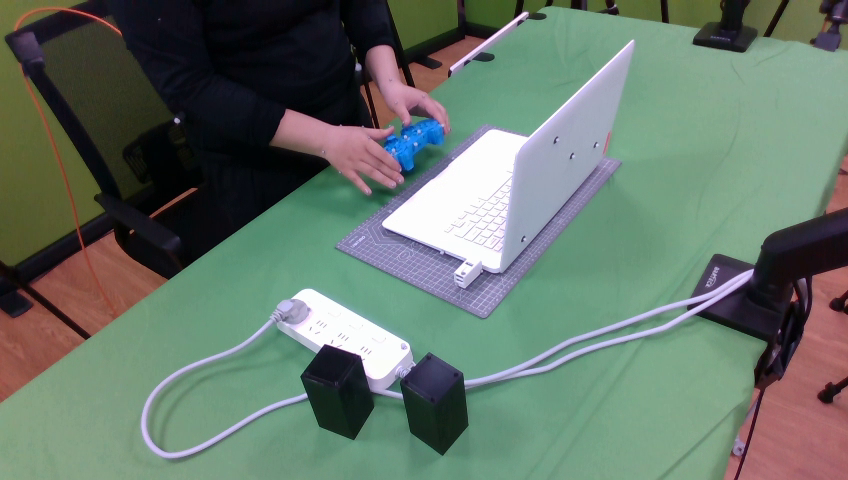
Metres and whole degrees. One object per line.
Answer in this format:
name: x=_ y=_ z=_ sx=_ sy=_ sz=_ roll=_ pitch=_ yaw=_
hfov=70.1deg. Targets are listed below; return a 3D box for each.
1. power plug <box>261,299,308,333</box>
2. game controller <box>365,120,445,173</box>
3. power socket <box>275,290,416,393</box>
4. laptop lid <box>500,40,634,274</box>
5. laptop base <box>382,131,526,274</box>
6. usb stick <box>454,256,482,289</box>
power plug: x=-0.193 y=0.110 z=0.830 sx=0.073 sy=0.053 sz=0.035 roll=-36 pitch=48 yaw=-23
game controller: x=-0.033 y=-0.174 z=1.104 sx=0.096 sy=0.052 sz=0.155 roll=15 pitch=45 yaw=38
power socket: x=-0.114 y=0.132 z=0.821 sx=0.225 sy=0.033 sz=0.072 roll=24 pitch=48 yaw=32
laptop lid: x=0.218 y=-0.128 z=0.906 sx=0.013 sy=0.242 sz=0.358 roll=28 pitch=50 yaw=25
laptop base: x=0.123 y=-0.081 z=1.049 sx=0.233 sy=0.023 sz=0.355 roll=20 pitch=47 yaw=33
usb stick: x=0.069 y=0.044 z=0.891 sx=0.021 sy=0.027 sz=0.059 roll=22 pitch=44 yaw=32
